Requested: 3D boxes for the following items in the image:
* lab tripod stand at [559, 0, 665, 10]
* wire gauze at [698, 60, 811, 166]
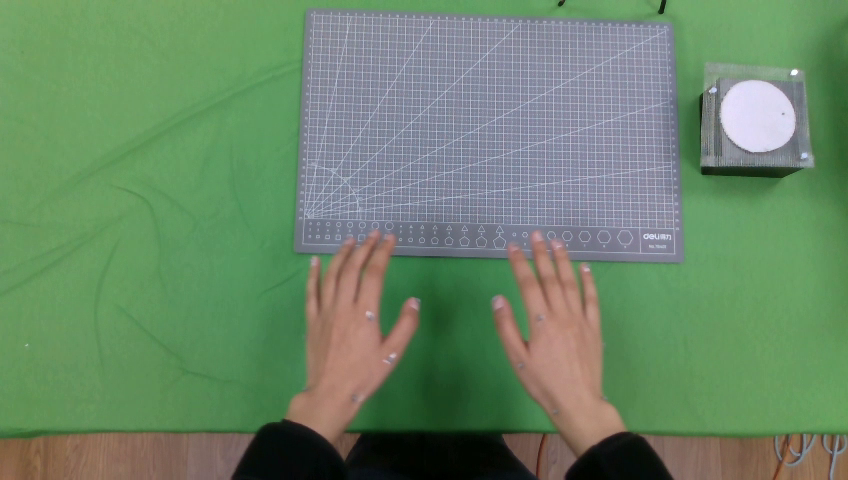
[{"bbox_3d":[0.236,-0.336,0.692,0.148,0.132,0.148,1,80,-4],"label":"lab tripod stand"},{"bbox_3d":[0.371,-0.142,0.681,0.121,0.011,0.124,4,80,1],"label":"wire gauze"}]
